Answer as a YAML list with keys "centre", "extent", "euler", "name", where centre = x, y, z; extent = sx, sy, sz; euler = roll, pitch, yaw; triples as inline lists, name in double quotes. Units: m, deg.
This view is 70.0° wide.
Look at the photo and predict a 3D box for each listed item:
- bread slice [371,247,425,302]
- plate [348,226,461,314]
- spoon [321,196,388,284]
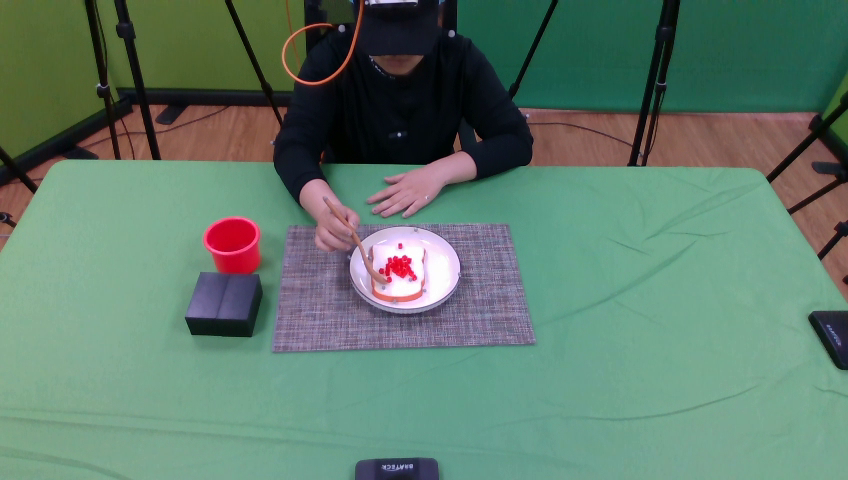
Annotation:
- centre: [-0.047, 0.061, 1.123]
  extent: [0.105, 0.019, 0.130]
  euler: [0, 45, -3]
  name: "bread slice"
- centre: [-0.035, 0.058, 1.123]
  extent: [0.209, 0.038, 0.208]
  euler: [2, 46, -2]
  name: "plate"
- centre: [-0.121, 0.002, 1.061]
  extent: [0.021, 0.194, 0.041]
  euler: [-31, 15, -2]
  name: "spoon"
